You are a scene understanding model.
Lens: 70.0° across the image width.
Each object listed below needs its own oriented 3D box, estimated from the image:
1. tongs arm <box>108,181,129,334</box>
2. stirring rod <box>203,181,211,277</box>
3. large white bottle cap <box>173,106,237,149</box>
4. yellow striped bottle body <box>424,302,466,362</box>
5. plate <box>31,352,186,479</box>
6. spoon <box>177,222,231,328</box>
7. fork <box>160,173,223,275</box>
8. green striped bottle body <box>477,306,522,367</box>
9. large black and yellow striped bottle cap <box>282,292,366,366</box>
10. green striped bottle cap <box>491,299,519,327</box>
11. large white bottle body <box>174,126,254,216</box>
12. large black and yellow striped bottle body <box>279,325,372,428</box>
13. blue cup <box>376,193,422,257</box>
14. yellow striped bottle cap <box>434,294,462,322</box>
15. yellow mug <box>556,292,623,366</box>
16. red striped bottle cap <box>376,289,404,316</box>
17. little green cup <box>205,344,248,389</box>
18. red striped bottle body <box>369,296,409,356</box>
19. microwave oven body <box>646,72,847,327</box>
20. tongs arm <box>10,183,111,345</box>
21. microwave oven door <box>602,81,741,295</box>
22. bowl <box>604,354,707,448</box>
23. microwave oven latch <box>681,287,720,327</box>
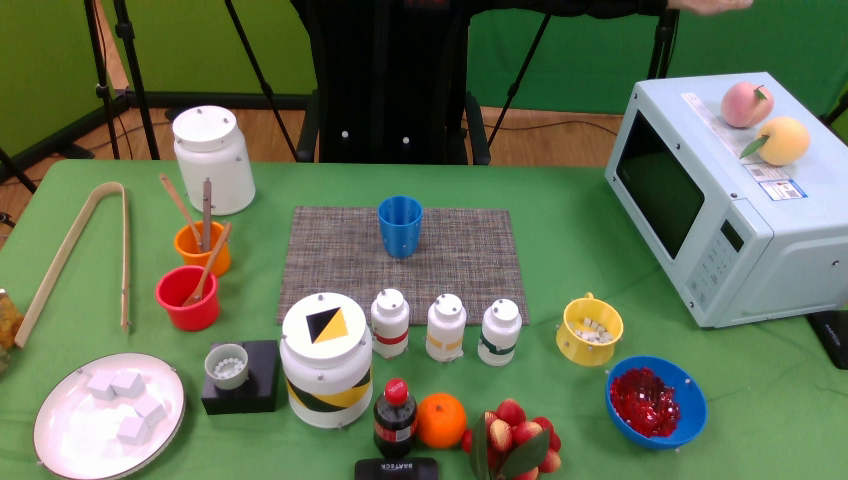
[{"bbox_3d":[-0.571,0.019,1.123,0.051,0.026,0.382,-11,47,-11],"label":"tongs arm"},{"bbox_3d":[-0.396,-0.021,1.108,0.014,0.006,0.176,-1,89,-1],"label":"stirring rod"},{"bbox_3d":[-0.411,-0.212,1.138,0.115,0.018,0.114,2,47,-2],"label":"large white bottle cap"},{"bbox_3d":[0.035,0.143,0.995,0.063,0.121,0.062,3,46,-3],"label":"yellow striped bottle body"},{"bbox_3d":[-0.459,0.262,0.898,0.209,0.038,0.208,2,46,-2],"label":"plate"},{"bbox_3d":[-0.369,0.059,1.027,0.041,0.022,0.193,25,94,19],"label":"spoon"},{"bbox_3d":[-0.426,-0.029,1.103,0.028,0.018,0.207,-30,98,-22],"label":"fork"},{"bbox_3d":[0.124,0.151,0.995,0.063,0.120,0.063,2,46,-2],"label":"green striped bottle body"},{"bbox_3d":[-0.138,0.121,0.841,0.115,0.019,0.114,3,47,-3],"label":"large black and yellow striped bottle cap"},{"bbox_3d":[0.128,0.115,0.958,0.044,0.020,0.044,1,47,-1],"label":"green striped bottle cap"},{"bbox_3d":[-0.415,-0.154,1.199,0.131,0.185,0.130,2,46,-2],"label":"large white bottle body"},{"bbox_3d":[-0.143,0.181,0.900,0.131,0.185,0.130,2,46,-2],"label":"large black and yellow striped bottle body"},{"bbox_3d":[-0.047,-0.021,1.155,0.093,0.101,0.092,1,47,-1],"label":"blue cup"},{"bbox_3d":[0.038,0.107,0.958,0.044,0.019,0.044,2,45,-2],"label":"yellow striped bottle cap"},{"bbox_3d":[0.285,0.145,1.051,0.100,0.064,0.130,7,45,3],"label":"yellow mug"},{"bbox_3d":[-0.055,0.098,0.958,0.044,0.018,0.044,0,48,0],"label":"red striped bottle cap"},{"bbox_3d":[-0.293,0.191,0.909,0.061,0.039,0.061,1,47,-1],"label":"little green cup"},{"bbox_3d":[-0.059,0.134,0.997,0.063,0.120,0.062,5,48,-5],"label":"red striped bottle body"},{"bbox_3d":[0.607,-0.090,1.164,0.326,0.261,0.438,-7,46,-10],"label":"microwave oven body"},{"bbox_3d":[-0.658,0.027,1.109,0.028,0.028,0.385,-2,45,2],"label":"tongs arm"},{"bbox_3d":[0.456,-0.107,1.162,0.039,0.245,0.353,-7,47,-11],"label":"microwave oven door"},{"bbox_3d":[0.346,0.261,0.937,0.151,0.077,0.150,2,46,-2],"label":"bowl"},{"bbox_3d":[0.494,0.119,1.087,0.030,0.029,0.078,-5,46,-9],"label":"microwave oven latch"}]
